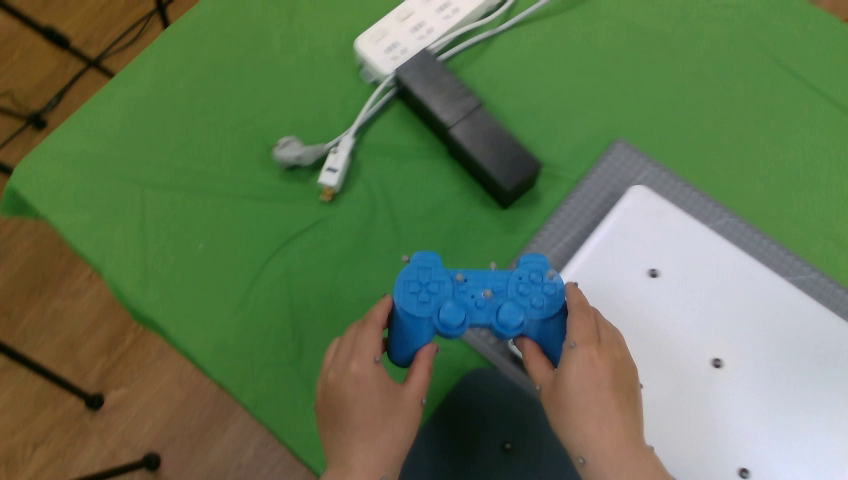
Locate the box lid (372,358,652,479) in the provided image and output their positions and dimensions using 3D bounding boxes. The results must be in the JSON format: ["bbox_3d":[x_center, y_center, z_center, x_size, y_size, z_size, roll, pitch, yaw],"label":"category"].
[{"bbox_3d":[0.117,0.312,0.558,0.369,0.015,0.263,38,77,13],"label":"box lid"}]

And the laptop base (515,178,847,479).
[{"bbox_3d":[0.298,0.120,0.610,0.352,0.023,0.235,38,80,13],"label":"laptop base"}]

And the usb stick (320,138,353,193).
[{"bbox_3d":[-0.102,-0.083,0.688,0.021,0.027,0.059,20,80,5],"label":"usb stick"}]

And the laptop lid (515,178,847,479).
[{"bbox_3d":[0.296,0.118,0.599,0.355,0.013,0.241,39,79,14],"label":"laptop lid"}]

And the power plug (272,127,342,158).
[{"bbox_3d":[-0.139,-0.115,0.707,0.073,0.035,0.052,-17,40,-40],"label":"power plug"}]

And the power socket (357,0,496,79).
[{"bbox_3d":[0.014,-0.285,0.751,0.226,0.033,0.072,-41,75,-11],"label":"power socket"}]

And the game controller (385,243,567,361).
[{"bbox_3d":[0.045,0.052,0.513,0.155,0.052,0.096,2,72,-3],"label":"game controller"}]
